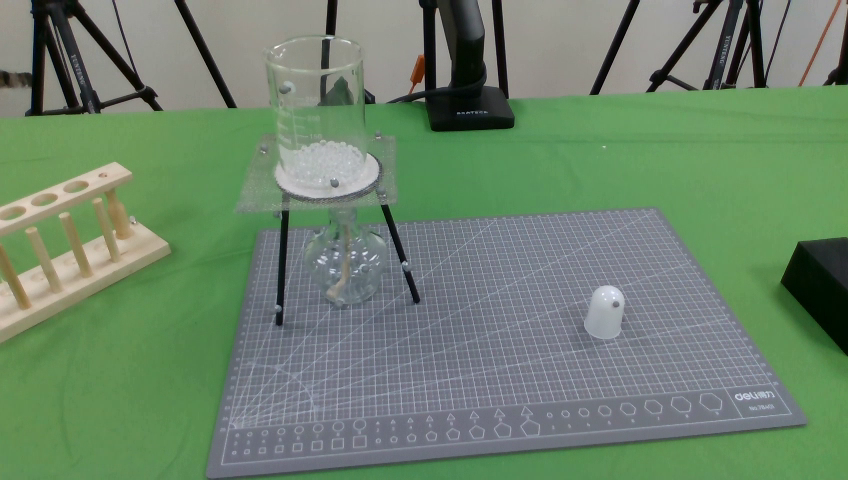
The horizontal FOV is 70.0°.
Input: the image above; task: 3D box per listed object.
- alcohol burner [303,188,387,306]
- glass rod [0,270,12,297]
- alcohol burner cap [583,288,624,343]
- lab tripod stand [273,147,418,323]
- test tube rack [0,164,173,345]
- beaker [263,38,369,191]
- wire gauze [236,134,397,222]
[{"bbox_3d":[-0.072,0.002,0.550,0.078,0.120,0.077,1,39,-1],"label":"alcohol burner"},{"bbox_3d":[-0.386,-0.035,0.514,0.008,0.201,0.008,1,30,0],"label":"glass rod"},{"bbox_3d":[0.159,0.063,0.530,0.034,0.048,0.033,0,38,0],"label":"alcohol burner cap"},{"bbox_3d":[-0.075,-0.005,0.543,0.148,0.132,0.147,1,36,-1],"label":"lab tripod stand"},{"bbox_3d":[-0.364,0.024,0.546,0.066,0.086,0.242,27,44,31],"label":"test tube rack"},{"bbox_3d":[-0.084,-0.096,0.473,0.083,0.101,0.074,21,41,23],"label":"beaker"},{"bbox_3d":[-0.083,-0.056,0.501,0.121,0.011,0.124,-2,39,-3],"label":"wire gauze"}]
